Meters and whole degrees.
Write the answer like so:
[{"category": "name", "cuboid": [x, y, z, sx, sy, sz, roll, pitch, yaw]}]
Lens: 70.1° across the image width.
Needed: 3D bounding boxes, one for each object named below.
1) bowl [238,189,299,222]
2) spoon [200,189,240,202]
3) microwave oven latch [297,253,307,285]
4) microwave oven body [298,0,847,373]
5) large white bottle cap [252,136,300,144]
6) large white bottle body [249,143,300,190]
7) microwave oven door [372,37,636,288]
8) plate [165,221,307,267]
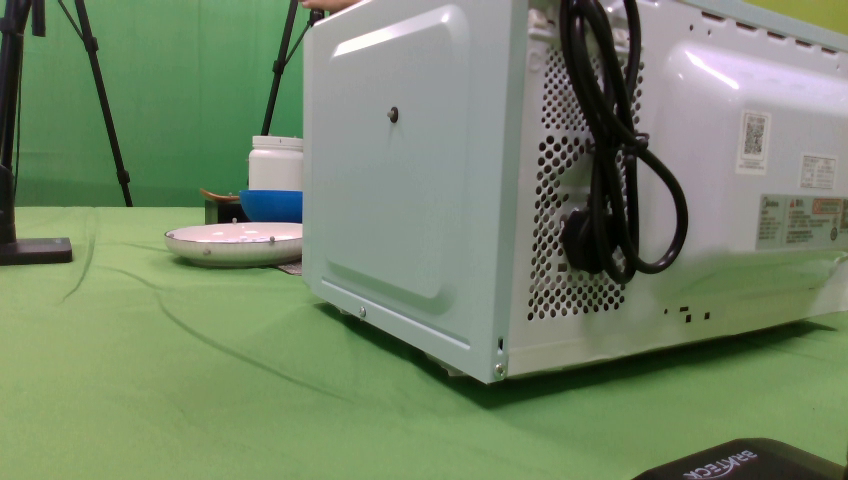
[{"category": "bowl", "cuboid": [-0.245, -0.046, 1.053, 0.151, 0.077, 0.151, 3, 8, 0]}, {"category": "spoon", "cuboid": [-0.339, -0.080, 1.190, 0.194, 0.021, 0.041, 5, 1, -19]}, {"category": "microwave oven latch", "cuboid": [-0.082, 0.027, 0.582, 0.079, 0.029, 0.030, -1, 7, -33]}, {"category": "microwave oven body", "cuboid": [0.151, -0.055, 0.543, 0.444, 0.260, 0.324, -1, 7, -33]}, {"category": "large white bottle cap", "cuboid": [-0.336, -0.228, 1.391, 0.115, 0.018, 0.115, 2, 7, 0]}, {"category": "large white bottle body", "cuboid": [-0.338, -0.144, 1.401, 0.131, 0.184, 0.130, 2, 7, 0]}, {"category": "microwave oven door", "cuboid": [0.109, -0.080, 0.686, 0.358, 0.243, 0.039, -2, 9, -33]}, {"category": "plate", "cuboid": [-0.241, 0.004, 0.829, 0.209, 0.038, 0.209, 0, 9, 0]}]
